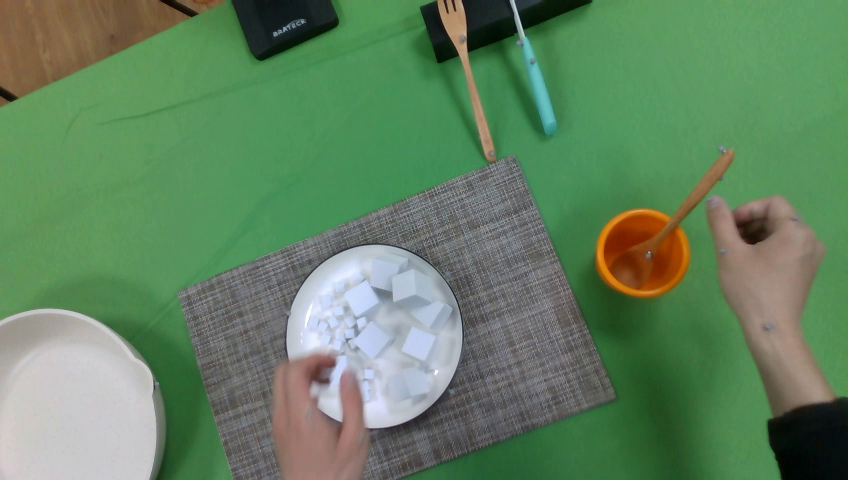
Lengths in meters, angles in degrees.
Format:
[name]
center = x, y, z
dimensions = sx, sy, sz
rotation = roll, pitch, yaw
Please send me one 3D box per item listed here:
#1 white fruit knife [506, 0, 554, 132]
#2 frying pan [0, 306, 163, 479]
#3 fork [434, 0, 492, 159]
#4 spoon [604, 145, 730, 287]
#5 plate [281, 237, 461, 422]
[white fruit knife]
center = 0.113, -0.226, 0.699
dimensions = 0.016, 0.027, 0.207
rotation = -19, 96, 3
[frying pan]
center = -0.394, 0.312, 0.685
dimensions = 0.307, 0.103, 0.484
rotation = -29, 71, 4
[fork]
center = 0.048, -0.195, 0.704
dimensions = 0.028, 0.018, 0.208
rotation = -17, 99, 0
[spoon]
center = 0.247, -0.019, 0.621
dimensions = 0.041, 0.195, 0.021
rotation = 35, 44, 8
[plate]
center = -0.060, 0.102, 0.698
dimensions = 0.207, 0.039, 0.207
rotation = -1, 83, 8
